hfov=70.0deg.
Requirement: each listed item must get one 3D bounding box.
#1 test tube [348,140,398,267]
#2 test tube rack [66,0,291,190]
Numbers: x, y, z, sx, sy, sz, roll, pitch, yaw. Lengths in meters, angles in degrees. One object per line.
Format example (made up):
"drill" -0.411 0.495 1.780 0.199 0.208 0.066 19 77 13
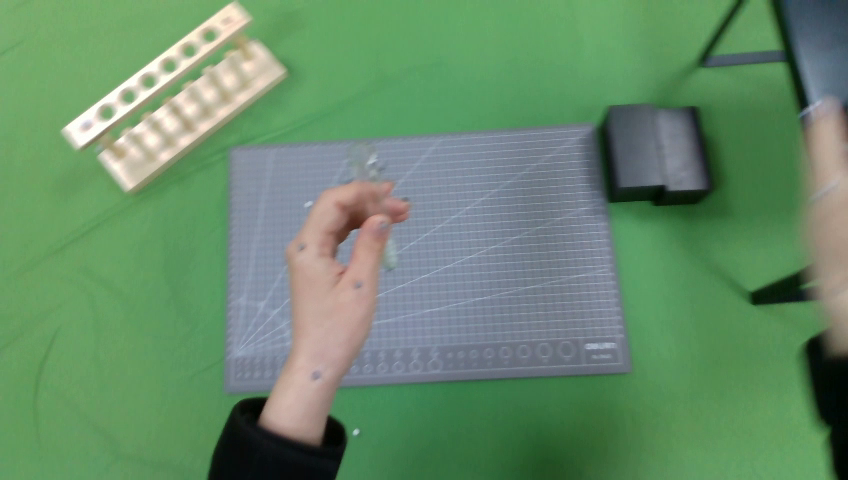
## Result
"test tube" -0.030 -0.017 0.398 0.017 0.151 0.017 -1 64 3
"test tube rack" -0.283 -0.171 0.722 0.242 0.085 0.066 -40 77 -8
